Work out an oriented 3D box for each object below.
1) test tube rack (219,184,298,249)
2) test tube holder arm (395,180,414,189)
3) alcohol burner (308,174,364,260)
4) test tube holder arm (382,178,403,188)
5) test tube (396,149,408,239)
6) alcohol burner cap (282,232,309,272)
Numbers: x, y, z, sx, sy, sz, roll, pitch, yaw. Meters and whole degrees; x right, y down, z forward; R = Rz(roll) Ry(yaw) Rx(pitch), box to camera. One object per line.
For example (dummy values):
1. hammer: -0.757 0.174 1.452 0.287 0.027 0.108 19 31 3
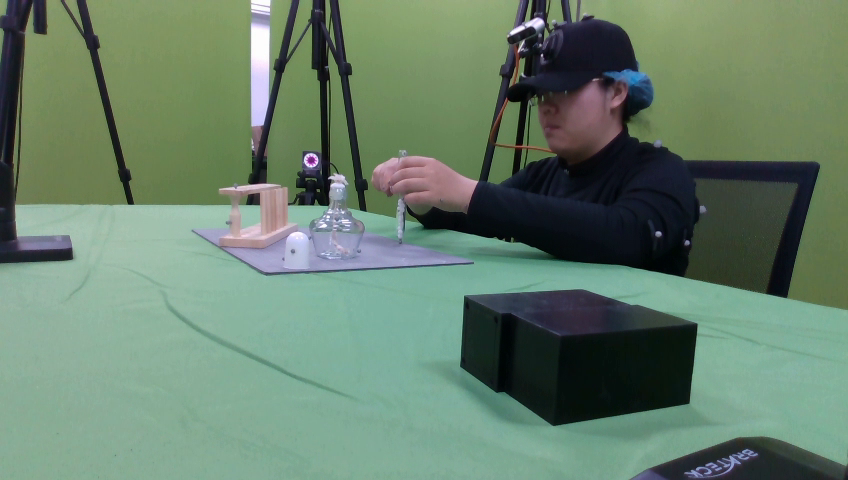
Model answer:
1. test tube rack: -0.266 -0.046 1.001 0.067 0.085 0.242 3 7 0
2. test tube holder arm: -0.039 -0.096 1.032 0.010 0.015 0.087 9 2 -25
3. alcohol burner: -0.121 -0.033 0.841 0.078 0.119 0.078 3 5 0
4. test tube holder arm: -0.058 -0.100 1.073 0.013 0.015 0.178 10 2 -14
5. test tube: -0.037 -0.076 1.007 0.017 0.150 0.017 2 5 0
6. alcohol burner cap: -0.157 0.014 0.740 0.034 0.048 0.034 2 6 0
